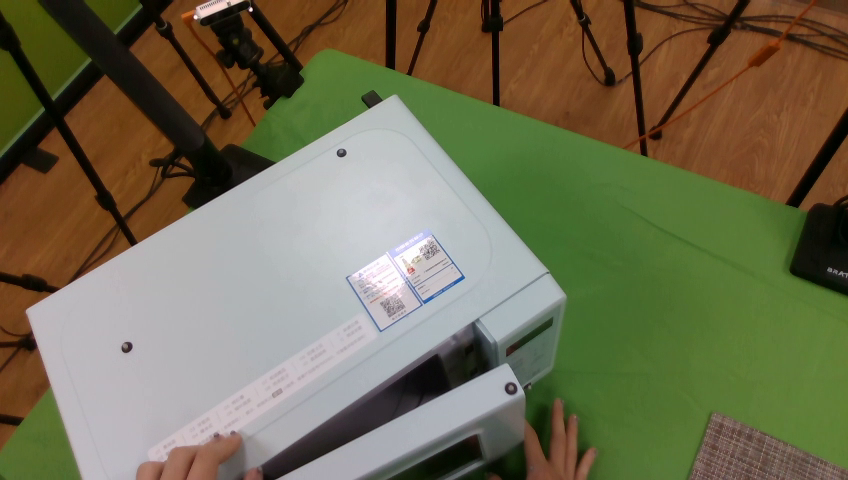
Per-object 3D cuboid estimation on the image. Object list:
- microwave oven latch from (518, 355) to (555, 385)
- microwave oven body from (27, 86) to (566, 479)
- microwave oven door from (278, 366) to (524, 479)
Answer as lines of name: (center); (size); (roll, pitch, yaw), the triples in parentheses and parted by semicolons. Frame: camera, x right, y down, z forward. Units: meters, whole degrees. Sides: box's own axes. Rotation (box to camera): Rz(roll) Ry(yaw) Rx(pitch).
microwave oven latch: (0.119, 0.153, 0.726); (0.079, 0.030, 0.030); (-31, 63, -7)
microwave oven body: (-0.121, 0.099, 0.678); (0.442, 0.262, 0.323); (-33, 64, -8)
microwave oven door: (-0.067, 0.241, 0.591); (0.356, 0.246, 0.039); (-25, 61, -5)
